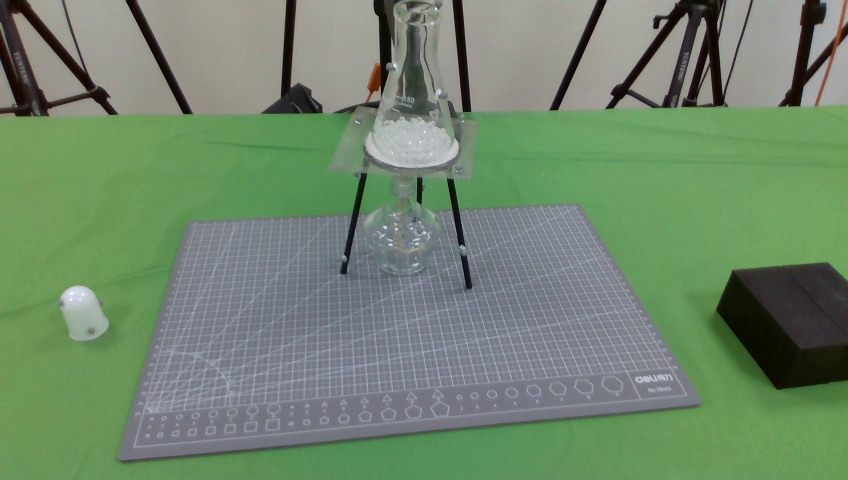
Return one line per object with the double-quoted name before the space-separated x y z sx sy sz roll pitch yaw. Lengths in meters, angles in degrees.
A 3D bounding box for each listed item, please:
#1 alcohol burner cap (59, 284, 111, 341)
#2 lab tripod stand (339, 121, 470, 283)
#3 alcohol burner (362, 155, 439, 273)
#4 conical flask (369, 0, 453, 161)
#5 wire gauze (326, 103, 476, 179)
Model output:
"alcohol burner cap" -0.295 0.060 0.523 0.034 0.048 0.033 2 37 -1
"lab tripod stand" -0.011 -0.036 0.588 0.148 0.132 0.147 3 37 -2
"alcohol burner" -0.023 -0.028 0.592 0.078 0.120 0.077 1 36 0
"conical flask" -0.009 -0.135 0.509 0.075 0.123 0.074 2 38 -2
"wire gauze" -0.015 -0.089 0.548 0.121 0.011 0.124 6 40 4
